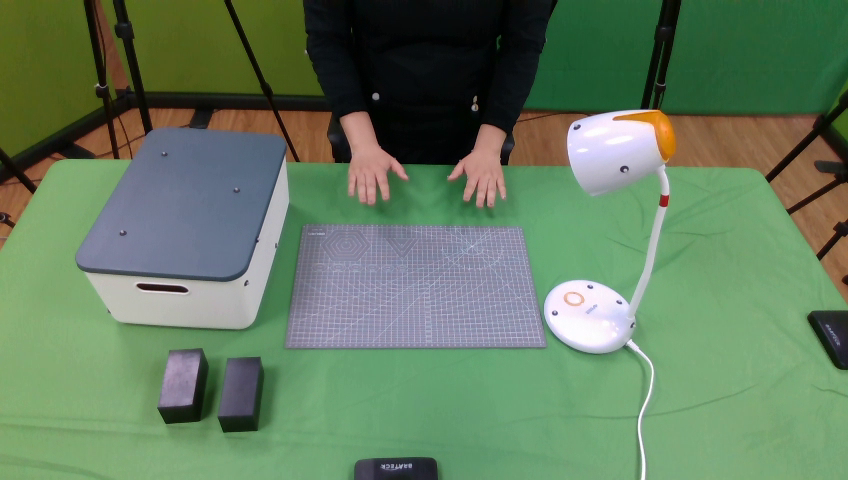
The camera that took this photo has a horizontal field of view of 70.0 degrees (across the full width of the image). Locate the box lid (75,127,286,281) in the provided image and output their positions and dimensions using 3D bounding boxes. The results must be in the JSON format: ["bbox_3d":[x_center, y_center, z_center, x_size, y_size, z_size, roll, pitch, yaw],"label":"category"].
[{"bbox_3d":[-0.398,-0.075,1.039,0.263,0.015,0.369,4,45,-1],"label":"box lid"}]

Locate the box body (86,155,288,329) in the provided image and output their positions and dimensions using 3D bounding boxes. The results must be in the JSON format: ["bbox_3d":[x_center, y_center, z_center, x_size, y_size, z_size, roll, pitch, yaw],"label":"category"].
[{"bbox_3d":[-0.401,-0.025,1.094,0.254,0.161,0.362,3,46,-1],"label":"box body"}]

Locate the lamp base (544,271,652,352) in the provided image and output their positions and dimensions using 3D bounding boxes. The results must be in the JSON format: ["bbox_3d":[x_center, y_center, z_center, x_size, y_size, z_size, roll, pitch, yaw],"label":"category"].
[{"bbox_3d":[0.309,0.086,1.029,0.178,0.181,0.160,32,52,21],"label":"lamp base"}]

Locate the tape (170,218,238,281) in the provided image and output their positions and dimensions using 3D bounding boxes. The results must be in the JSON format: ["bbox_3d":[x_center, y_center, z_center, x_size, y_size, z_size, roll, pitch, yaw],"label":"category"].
[{"bbox_3d":[-0.406,0.017,1.121,0.117,0.053,0.116,2,46,-2],"label":"tape"}]

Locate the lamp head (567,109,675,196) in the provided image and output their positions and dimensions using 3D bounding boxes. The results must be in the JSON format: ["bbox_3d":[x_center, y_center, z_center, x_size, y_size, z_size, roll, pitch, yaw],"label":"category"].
[{"bbox_3d":[0.272,-0.123,0.818,0.122,0.113,0.112,-9,35,37],"label":"lamp head"}]
